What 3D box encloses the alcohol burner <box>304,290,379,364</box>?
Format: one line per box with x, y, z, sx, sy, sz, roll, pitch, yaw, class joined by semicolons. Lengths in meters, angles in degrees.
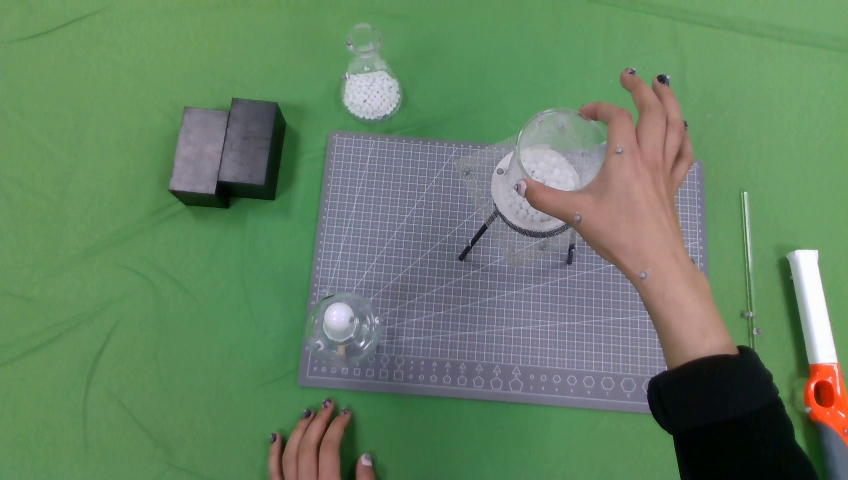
-0.084;0.085;0.613;0.078;0.119;0.077;1;74;-3;alcohol burner

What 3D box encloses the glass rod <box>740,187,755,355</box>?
0.373;0.032;0.698;0.008;0.008;0.198;5;76;-1;glass rod

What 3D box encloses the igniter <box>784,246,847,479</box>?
0.435;0.142;0.662;0.057;0.025;0.275;1;76;-12;igniter

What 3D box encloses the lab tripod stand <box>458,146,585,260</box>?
0.105;-0.029;0.638;0.148;0.132;0.147;0;77;-1;lab tripod stand

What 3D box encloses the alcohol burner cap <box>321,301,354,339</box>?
-0.083;0.074;0.578;0.034;0.048;0.033;3;68;-7;alcohol burner cap

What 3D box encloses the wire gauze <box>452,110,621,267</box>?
0.107;-0.050;0.575;0.125;0.011;0.121;-24;81;-9;wire gauze

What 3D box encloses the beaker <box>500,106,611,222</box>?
0.109;-0.062;0.528;0.084;0.100;0.073;-15;78;-6;beaker

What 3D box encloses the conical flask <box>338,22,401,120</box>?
-0.065;-0.193;0.682;0.075;0.122;0.075;0;75;-1;conical flask
